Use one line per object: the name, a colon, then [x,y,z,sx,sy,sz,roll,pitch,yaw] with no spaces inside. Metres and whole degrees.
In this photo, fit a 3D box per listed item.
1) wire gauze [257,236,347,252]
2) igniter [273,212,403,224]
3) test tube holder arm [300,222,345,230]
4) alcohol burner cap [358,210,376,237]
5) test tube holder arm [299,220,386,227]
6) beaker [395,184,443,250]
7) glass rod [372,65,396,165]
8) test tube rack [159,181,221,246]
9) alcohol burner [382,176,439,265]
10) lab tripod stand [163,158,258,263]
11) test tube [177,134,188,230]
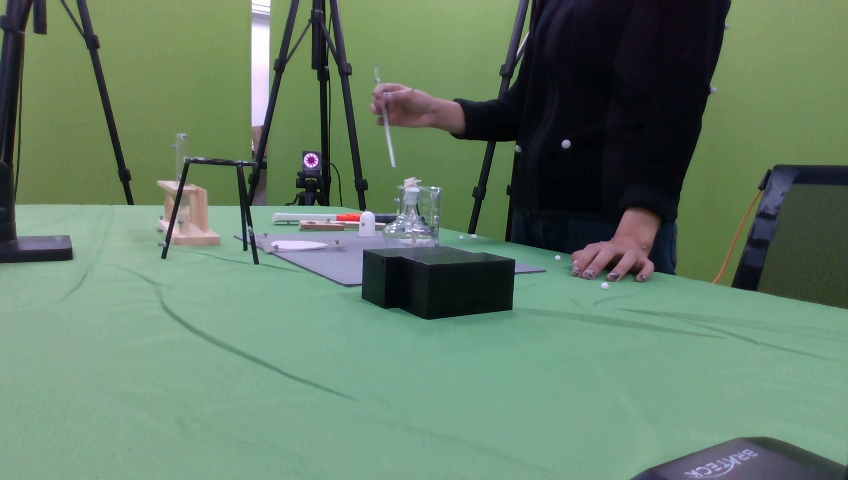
wire gauze: [-0.189,0.005,0.931,0.122,0.011,0.124,1,7,-21]
igniter: [-0.179,-0.048,1.290,0.278,0.025,0.057,-1,-2,-24]
test tube holder arm: [-0.196,-0.027,1.170,0.088,0.015,0.010,-1,43,-28]
alcohol burner cap: [-0.104,-0.030,1.098,0.034,0.048,0.034,2,7,0]
test tube holder arm: [-0.158,-0.032,1.195,0.179,0.015,0.013,-2,43,-29]
beaker: [-0.007,-0.037,0.964,0.074,0.100,0.083,-4,11,-40]
glass rod: [-0.071,-0.221,1.059,0.008,0.199,0.008,-11,-17,-3]
test tube rack: [-0.395,-0.050,1.010,0.067,0.085,0.241,-2,8,-28]
alcohol burner: [-0.018,-0.026,0.818,0.078,0.119,0.078,3,10,0]
lab tripod stand: [-0.265,-0.041,0.802,0.148,0.131,0.148,4,7,0]
test tube: [-0.374,-0.089,0.938,0.017,0.150,0.017,2,4,0]
